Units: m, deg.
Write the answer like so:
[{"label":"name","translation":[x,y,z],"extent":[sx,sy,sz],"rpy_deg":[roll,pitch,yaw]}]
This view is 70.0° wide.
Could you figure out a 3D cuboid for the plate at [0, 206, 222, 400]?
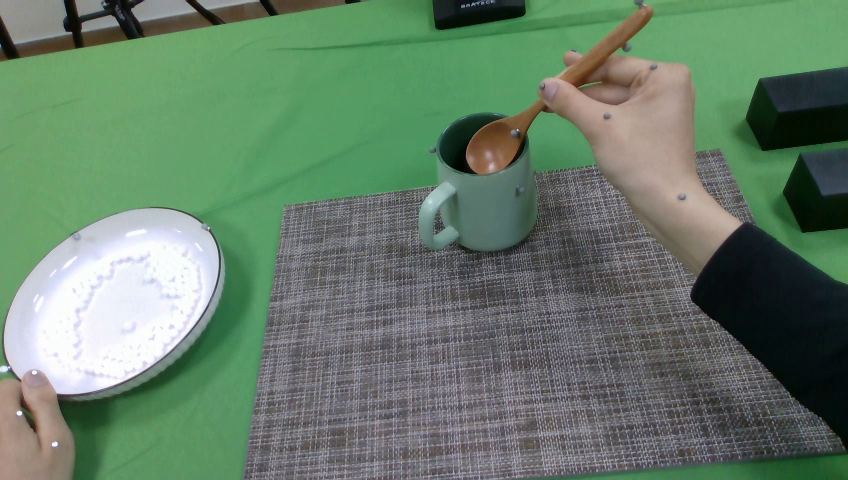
[{"label":"plate","translation":[-0.290,0.057,0.576],"extent":[0.209,0.038,0.207],"rpy_deg":[-5,52,7]}]

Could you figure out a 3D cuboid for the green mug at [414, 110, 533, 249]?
[{"label":"green mug","translation":[0.040,-0.042,0.544],"extent":[0.125,0.106,0.091],"rpy_deg":[-42,57,-20]}]

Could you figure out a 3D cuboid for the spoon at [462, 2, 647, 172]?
[{"label":"spoon","translation":[0.094,-0.112,0.472],"extent":[0.022,0.194,0.041],"rpy_deg":[-24,80,-41]}]
